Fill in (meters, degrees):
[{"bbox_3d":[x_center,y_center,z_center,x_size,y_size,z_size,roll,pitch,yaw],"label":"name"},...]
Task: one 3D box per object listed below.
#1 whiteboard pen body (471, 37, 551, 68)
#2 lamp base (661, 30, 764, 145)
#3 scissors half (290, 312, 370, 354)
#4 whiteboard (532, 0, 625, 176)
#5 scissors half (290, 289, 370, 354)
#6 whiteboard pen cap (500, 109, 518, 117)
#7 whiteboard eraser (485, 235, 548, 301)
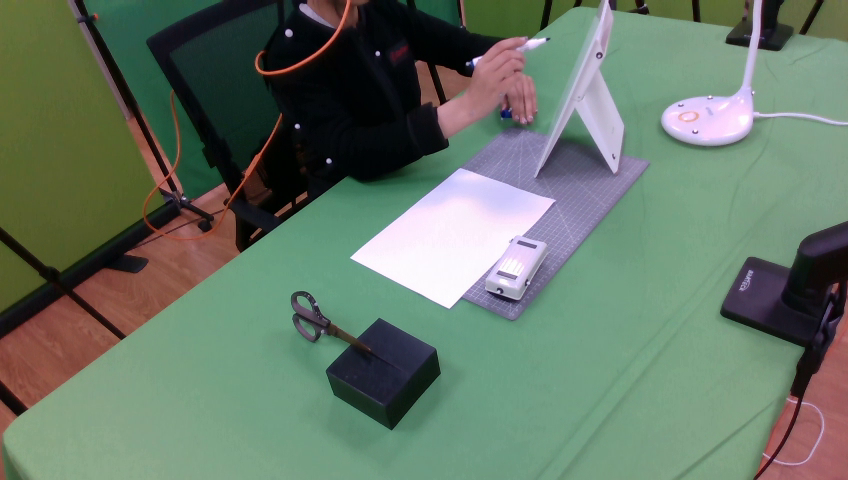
[{"bbox_3d":[0.148,-0.322,1.034,0.140,0.017,0.017,-13,38,18],"label":"whiteboard pen body"},{"bbox_3d":[0.535,-0.287,1.096,0.179,0.181,0.159,-10,40,-4],"label":"lamp base"},{"bbox_3d":[-0.128,0.129,0.816,0.013,0.040,0.173,-23,21,-40],"label":"scissors half"},{"bbox_3d":[0.320,-0.259,1.050,0.144,0.306,0.217,21,45,5],"label":"whiteboard"},{"bbox_3d":[-0.128,0.110,0.809,0.013,0.040,0.173,-17,36,-43],"label":"scissors half"},{"bbox_3d":[0.170,-0.255,1.211,0.033,0.018,0.018,-4,35,-28],"label":"whiteboard pen cap"},{"bbox_3d":[0.137,0.042,0.887,0.055,0.042,0.113,15,46,27],"label":"whiteboard eraser"}]
